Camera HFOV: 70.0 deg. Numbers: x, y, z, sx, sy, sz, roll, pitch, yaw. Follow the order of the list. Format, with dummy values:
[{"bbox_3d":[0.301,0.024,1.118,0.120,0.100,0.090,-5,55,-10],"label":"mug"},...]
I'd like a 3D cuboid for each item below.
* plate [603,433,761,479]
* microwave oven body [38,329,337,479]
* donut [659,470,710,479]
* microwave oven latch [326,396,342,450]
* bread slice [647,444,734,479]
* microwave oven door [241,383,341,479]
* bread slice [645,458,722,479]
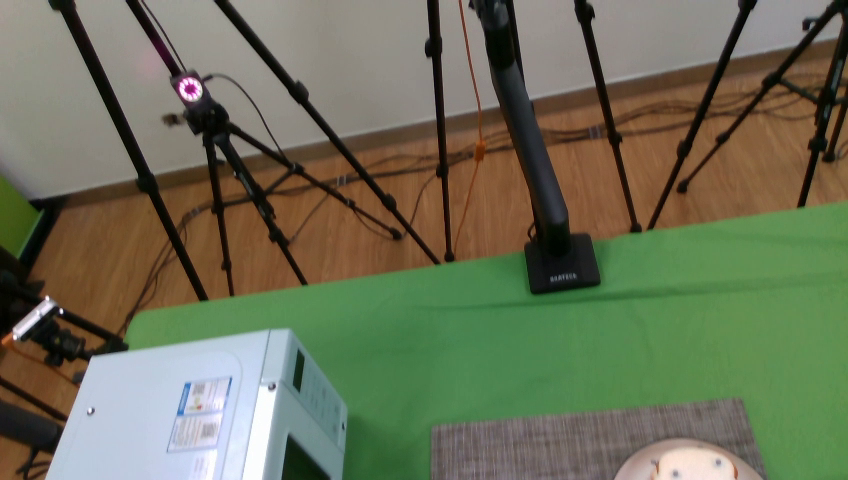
[{"bbox_3d":[0.326,0.348,0.757,0.207,0.039,0.205,-9,48,10],"label":"plate"},{"bbox_3d":[-0.307,0.381,0.777,0.326,0.263,0.437,-10,49,9],"label":"microwave oven body"},{"bbox_3d":[0.321,0.330,0.732,0.099,0.049,0.098,-7,52,9],"label":"donut"},{"bbox_3d":[-0.144,0.285,0.940,0.030,0.030,0.078,-10,49,9],"label":"microwave oven latch"},{"bbox_3d":[0.315,0.306,0.718,0.104,0.019,0.130,-3,47,23],"label":"bread slice"},{"bbox_3d":[-0.165,0.384,0.722,0.039,0.246,0.352,-10,48,9],"label":"microwave oven door"},{"bbox_3d":[0.326,0.342,0.761,0.106,0.018,0.133,-1,49,15],"label":"bread slice"}]
